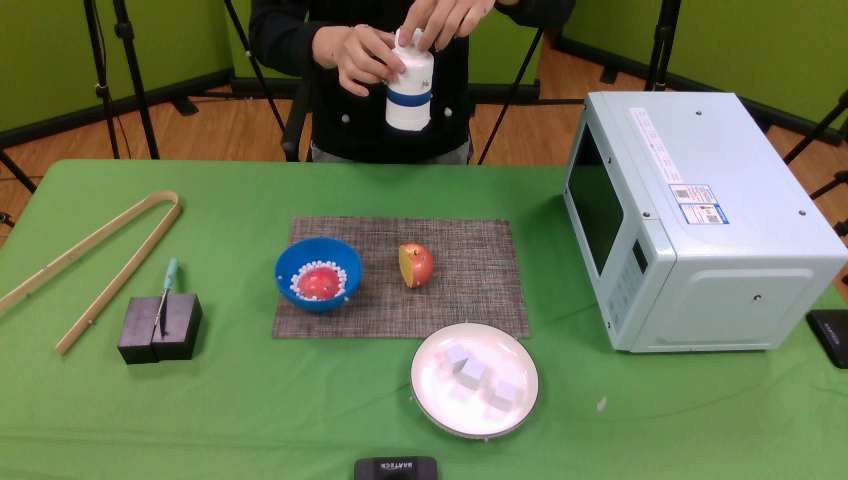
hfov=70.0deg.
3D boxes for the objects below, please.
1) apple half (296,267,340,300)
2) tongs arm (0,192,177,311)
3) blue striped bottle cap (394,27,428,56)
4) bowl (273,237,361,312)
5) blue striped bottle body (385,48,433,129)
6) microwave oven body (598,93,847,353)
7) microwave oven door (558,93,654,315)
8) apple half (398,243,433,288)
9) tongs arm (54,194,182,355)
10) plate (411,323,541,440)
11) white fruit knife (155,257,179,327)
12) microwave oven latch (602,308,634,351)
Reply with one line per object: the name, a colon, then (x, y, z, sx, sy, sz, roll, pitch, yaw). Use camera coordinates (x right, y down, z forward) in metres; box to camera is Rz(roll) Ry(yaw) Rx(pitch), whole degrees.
apple half: (-0.187, 0.070, 1.067, 0.081, 0.033, 0.081, 2, 47, -2)
tongs arm: (-0.618, 0.020, 1.124, 0.050, 0.026, 0.384, 24, 47, 16)
blue striped bottle cap: (-0.016, -0.262, 0.797, 0.044, 0.021, 0.044, 5, 44, -4)
bowl: (-0.186, 0.074, 1.070, 0.151, 0.077, 0.150, 3, 46, -3)
blue striped bottle body: (-0.021, -0.219, 0.833, 0.063, 0.121, 0.062, 4, 39, -3)
microwave oven body: (0.475, -0.041, 1.109, 0.326, 0.261, 0.438, -1, 45, -4)
microwave oven door: (0.327, -0.074, 1.123, 0.039, 0.245, 0.353, 0, 46, -5)
apple half: (-0.012, 0.046, 1.115, 0.053, 0.075, 0.080, -11, 44, -19)
tongs arm: (-0.543, 0.049, 1.108, 0.028, 0.028, 0.385, 11, 46, 9)
plate: (0.082, 0.228, 0.976, 0.208, 0.039, 0.206, 2, 45, -2)
white fruit knife: (-0.440, 0.085, 1.037, 0.016, 0.027, 0.206, 10, 26, -19)
microwave oven latch: (0.332, 0.153, 1.044, 0.030, 0.029, 0.078, -1, 45, -4)
